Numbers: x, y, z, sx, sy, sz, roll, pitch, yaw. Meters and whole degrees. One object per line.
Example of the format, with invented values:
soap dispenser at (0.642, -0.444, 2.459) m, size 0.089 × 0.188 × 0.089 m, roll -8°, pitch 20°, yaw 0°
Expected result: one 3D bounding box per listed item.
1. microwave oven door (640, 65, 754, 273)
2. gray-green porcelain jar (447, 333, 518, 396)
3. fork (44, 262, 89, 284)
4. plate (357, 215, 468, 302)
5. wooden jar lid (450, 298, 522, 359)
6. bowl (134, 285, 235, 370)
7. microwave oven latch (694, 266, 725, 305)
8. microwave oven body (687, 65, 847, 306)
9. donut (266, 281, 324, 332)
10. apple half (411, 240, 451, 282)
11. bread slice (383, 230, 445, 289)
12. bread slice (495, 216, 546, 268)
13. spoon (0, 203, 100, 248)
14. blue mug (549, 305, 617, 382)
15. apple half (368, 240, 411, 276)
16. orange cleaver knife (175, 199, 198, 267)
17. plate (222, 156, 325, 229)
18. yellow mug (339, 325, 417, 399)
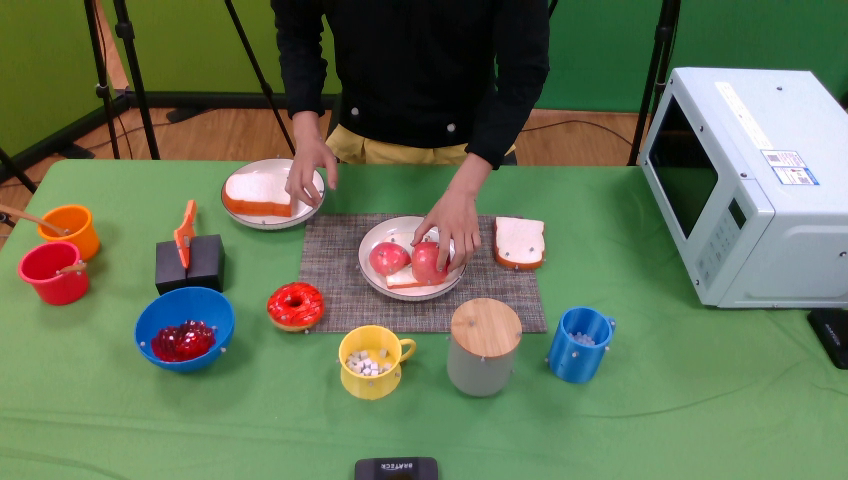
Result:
microwave oven door at (0.523, -0.147, 1.193) m, size 0.039 × 0.245 × 0.353 m, roll 0°, pitch 47°, yaw -3°
gray-green porcelain jar at (0.091, 0.178, 0.960) m, size 0.106 × 0.127 × 0.105 m, roll 2°, pitch 47°, yaw -2°
fork at (-0.598, 0.054, 1.014) m, size 0.207 × 0.019 × 0.028 m, roll -15°, pitch 29°, yaw 45°
plate at (-0.022, 0.037, 1.141) m, size 0.208 × 0.039 × 0.206 m, roll 2°, pitch 46°, yaw -2°
wooden jar lid at (0.093, 0.135, 0.914) m, size 0.108 × 0.021 × 0.107 m, roll 2°, pitch 48°, yaw -3°
bowl at (-0.377, 0.155, 0.981) m, size 0.151 × 0.077 × 0.150 m, roll 2°, pitch 46°, yaw -2°
microwave oven latch at (0.523, 0.082, 1.115) m, size 0.030 × 0.029 × 0.078 m, roll 3°, pitch 46°, yaw 0°
microwave oven body at (0.669, -0.111, 1.176) m, size 0.326 × 0.261 × 0.439 m, roll 0°, pitch 46°, yaw -3°
donut at (-0.222, 0.115, 1.049) m, size 0.099 × 0.048 × 0.098 m, roll 2°, pitch 45°, yaw -2°
apple half at (0.013, 0.031, 1.105) m, size 0.075 × 0.053 × 0.080 m, roll 5°, pitch 47°, yaw -1°
bread slice at (-0.028, 0.036, 1.146) m, size 0.107 × 0.018 × 0.133 m, roll -7°, pitch 50°, yaw -12°
bread slice at (0.194, 0.002, 1.204) m, size 0.105 × 0.019 × 0.131 m, roll 6°, pitch 45°, yaw 2°
spoon at (-0.683, -0.031, 1.088) m, size 0.195 × 0.021 × 0.041 m, roll 33°, pitch 33°, yaw -38°
blue mug at (0.269, 0.166, 0.998) m, size 0.116 × 0.106 × 0.082 m, roll -19°, pitch 51°, yaw -21°
apple half at (-0.066, 0.024, 1.121) m, size 0.081 × 0.033 × 0.081 m, roll 1°, pitch 48°, yaw -1°
orange cleaver knife at (-0.438, -0.017, 1.138) m, size 0.012 × 0.077 × 0.210 m, roll -14°, pitch 27°, yaw -7°
plate at (-0.308, -0.095, 1.251) m, size 0.209 × 0.038 × 0.208 m, roll 2°, pitch 47°, yaw -2°
yellow mug at (-0.072, 0.190, 0.978) m, size 0.131 × 0.064 × 0.099 m, roll -17°, pitch 50°, yaw -20°
